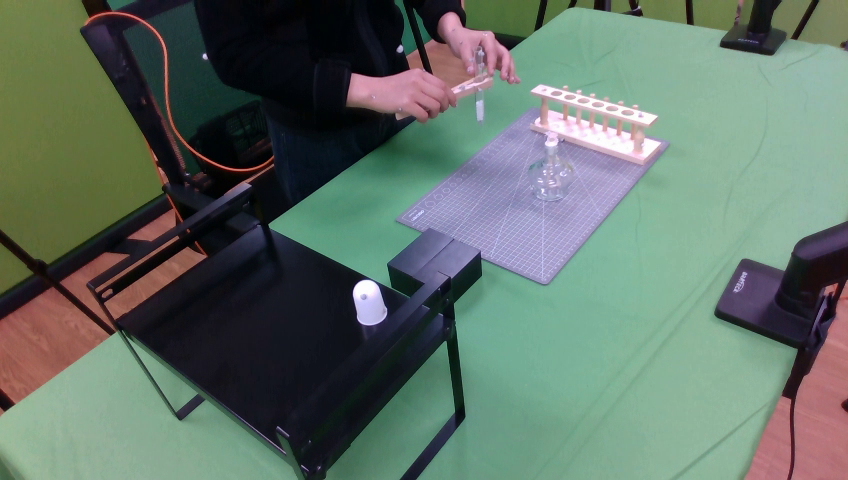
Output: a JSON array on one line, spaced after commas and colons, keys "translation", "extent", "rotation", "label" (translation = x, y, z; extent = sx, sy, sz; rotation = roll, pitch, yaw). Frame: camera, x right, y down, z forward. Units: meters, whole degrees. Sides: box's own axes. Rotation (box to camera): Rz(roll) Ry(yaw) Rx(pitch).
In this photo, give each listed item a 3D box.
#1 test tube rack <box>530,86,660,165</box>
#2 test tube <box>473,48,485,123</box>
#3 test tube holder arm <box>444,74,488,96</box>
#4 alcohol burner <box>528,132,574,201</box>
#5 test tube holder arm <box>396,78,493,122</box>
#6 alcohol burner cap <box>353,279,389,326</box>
[{"translation": [0.320, -0.226, 1.140], "extent": [0.240, 0.085, 0.067], "rotation": [27, 51, 34], "label": "test tube rack"}, {"translation": [0.094, -0.260, 1.030], "extent": [0.017, 0.151, 0.017], "rotation": [-3, 52, 5], "label": "test tube"}, {"translation": [0.071, -0.257, 1.021], "extent": [0.088, 0.015, 0.010], "rotation": [-30, 50, -18], "label": "test tube holder arm"}, {"translation": [0.214, -0.126, 1.016], "extent": [0.078, 0.119, 0.077], "rotation": [-5, 38, 5], "label": "alcohol burner"}, {"translation": [0.035, -0.234, 1.005], "extent": [0.179, 0.015, 0.013], "rotation": [-25, 48, -14], "label": "test tube holder arm"}, {"translation": [-0.055, 0.061, 0.616], "extent": [0.034, 0.048, 0.033], "rotation": [-5, 41, 5], "label": "alcohol burner cap"}]
